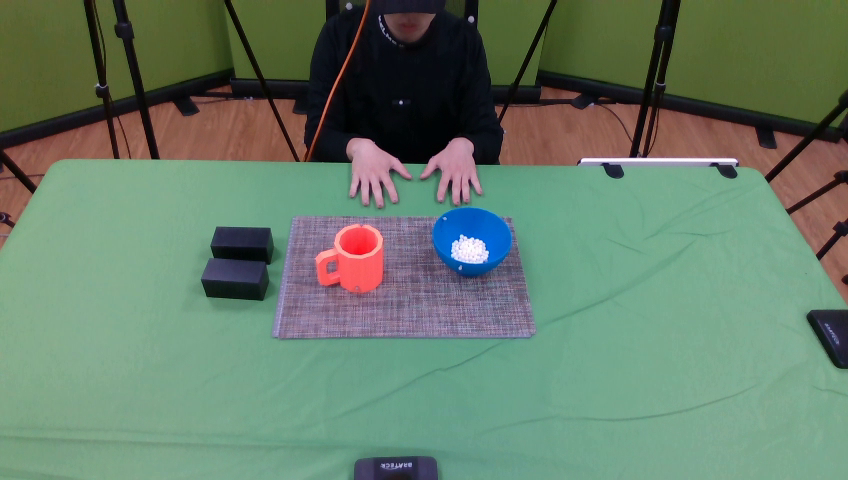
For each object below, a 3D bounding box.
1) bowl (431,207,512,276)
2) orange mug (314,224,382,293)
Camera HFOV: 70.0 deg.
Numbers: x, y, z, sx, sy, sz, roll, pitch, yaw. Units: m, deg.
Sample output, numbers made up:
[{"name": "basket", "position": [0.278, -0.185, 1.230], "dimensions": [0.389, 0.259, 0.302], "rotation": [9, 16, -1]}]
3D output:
[{"name": "bowl", "position": [0.086, 0.016, 1.147], "dimensions": [0.151, 0.077, 0.150], "rotation": [3, 46, -2]}, {"name": "orange mug", "position": [-0.135, 0.038, 1.094], "dimensions": [0.126, 0.101, 0.083], "rotation": [-14, 49, -23]}]
